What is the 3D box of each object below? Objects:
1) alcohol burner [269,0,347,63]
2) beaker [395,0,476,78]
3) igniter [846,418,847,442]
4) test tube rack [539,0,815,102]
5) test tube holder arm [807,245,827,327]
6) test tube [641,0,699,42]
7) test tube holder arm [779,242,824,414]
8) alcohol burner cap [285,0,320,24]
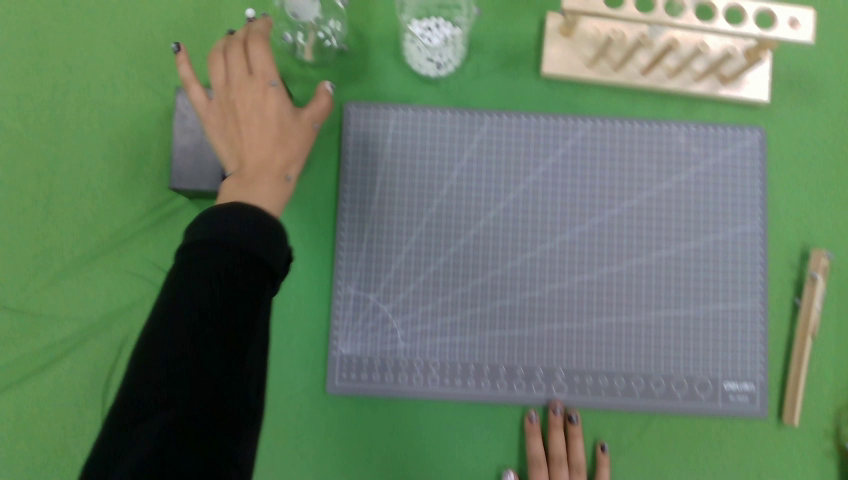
[{"bbox_3d":[-0.115,-0.220,0.588,0.078,0.119,0.077,0,82,-3],"label":"alcohol burner"},{"bbox_3d":[0.010,-0.208,0.599,0.074,0.100,0.084,6,85,-1],"label":"beaker"},{"bbox_3d":[0.458,0.164,0.616,0.057,0.025,0.276,9,85,-11],"label":"igniter"},{"bbox_3d":[0.248,-0.200,0.613,0.242,0.085,0.066,7,84,-1],"label":"test tube rack"},{"bbox_3d":[0.404,0.047,0.630,0.010,0.015,0.087,18,84,-33],"label":"test tube holder arm"},{"bbox_3d":[0.240,-0.219,0.564,0.017,0.150,0.017,0,86,-5],"label":"test tube"},{"bbox_3d":[0.388,0.090,0.624,0.013,0.015,0.178,16,85,-33],"label":"test tube holder arm"},{"bbox_3d":[-0.114,-0.224,0.552,0.034,0.048,0.033,0,77,-1],"label":"alcohol burner cap"}]
